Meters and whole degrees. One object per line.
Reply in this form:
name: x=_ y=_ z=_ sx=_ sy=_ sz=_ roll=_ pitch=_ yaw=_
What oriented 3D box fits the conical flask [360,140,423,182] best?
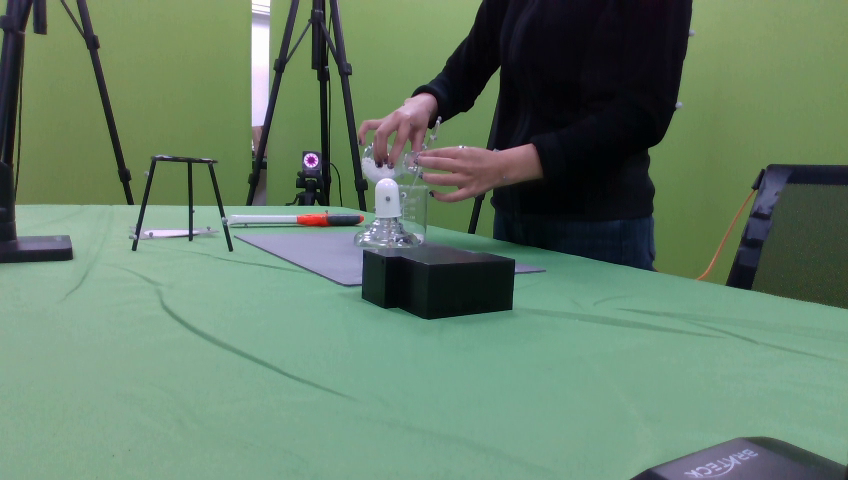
conical flask: x=-0.050 y=-0.133 z=1.028 sx=0.076 sy=0.075 sz=0.121 roll=-3 pitch=8 yaw=-34

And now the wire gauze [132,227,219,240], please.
wire gauze: x=-0.421 y=-0.014 z=1.024 sx=0.122 sy=0.011 sz=0.124 roll=-2 pitch=7 yaw=-34

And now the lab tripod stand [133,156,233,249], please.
lab tripod stand: x=-0.342 y=-0.054 z=0.878 sx=0.148 sy=0.131 sz=0.148 roll=4 pitch=6 yaw=0

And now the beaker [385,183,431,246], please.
beaker: x=-0.031 y=-0.043 z=1.000 sx=0.084 sy=0.100 sz=0.074 roll=4 pitch=7 yaw=15

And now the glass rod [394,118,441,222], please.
glass rod: x=-0.012 y=-0.109 z=0.977 sx=0.008 sy=0.199 sz=0.008 roll=18 pitch=32 yaw=-11

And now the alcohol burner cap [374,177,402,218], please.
alcohol burner cap: x=-0.044 y=-0.049 z=0.704 sx=0.034 sy=0.048 sz=0.034 roll=-4 pitch=10 yaw=1

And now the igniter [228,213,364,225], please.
igniter: x=-0.252 y=-0.043 z=1.227 sx=0.278 sy=0.025 sz=0.057 roll=-2 pitch=-2 yaw=-32

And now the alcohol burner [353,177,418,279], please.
alcohol burner: x=-0.044 y=-0.014 z=0.710 sx=0.078 sy=0.119 sz=0.078 roll=4 pitch=9 yaw=0
